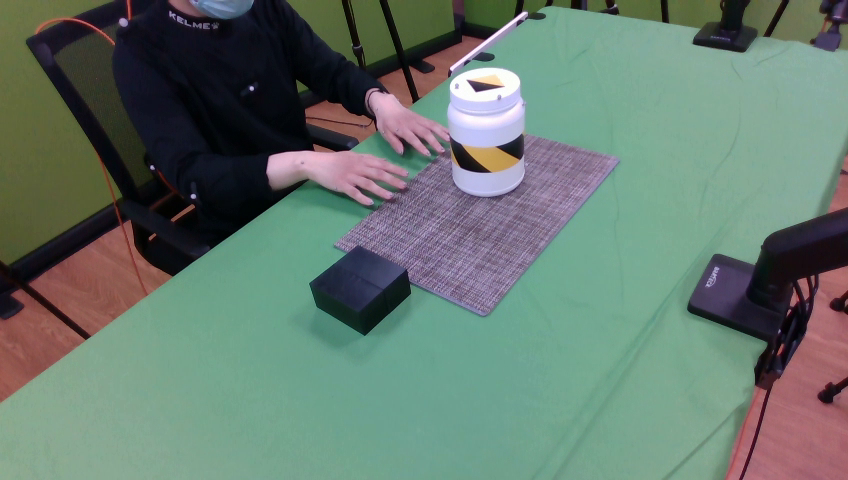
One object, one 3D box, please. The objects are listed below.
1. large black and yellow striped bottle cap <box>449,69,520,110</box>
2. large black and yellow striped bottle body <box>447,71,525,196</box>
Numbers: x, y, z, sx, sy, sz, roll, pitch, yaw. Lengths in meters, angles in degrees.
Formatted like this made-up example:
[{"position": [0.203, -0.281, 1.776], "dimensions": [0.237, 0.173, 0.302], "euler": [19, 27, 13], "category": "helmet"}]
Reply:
[{"position": [0.098, -0.246, 0.980], "dimensions": [0.115, 0.019, 0.114], "euler": [-3, 40, 3], "category": "large black and yellow striped bottle cap"}, {"position": [0.108, -0.182, 1.034], "dimensions": [0.131, 0.185, 0.130], "euler": [-4, 41, 4], "category": "large black and yellow striped bottle body"}]
